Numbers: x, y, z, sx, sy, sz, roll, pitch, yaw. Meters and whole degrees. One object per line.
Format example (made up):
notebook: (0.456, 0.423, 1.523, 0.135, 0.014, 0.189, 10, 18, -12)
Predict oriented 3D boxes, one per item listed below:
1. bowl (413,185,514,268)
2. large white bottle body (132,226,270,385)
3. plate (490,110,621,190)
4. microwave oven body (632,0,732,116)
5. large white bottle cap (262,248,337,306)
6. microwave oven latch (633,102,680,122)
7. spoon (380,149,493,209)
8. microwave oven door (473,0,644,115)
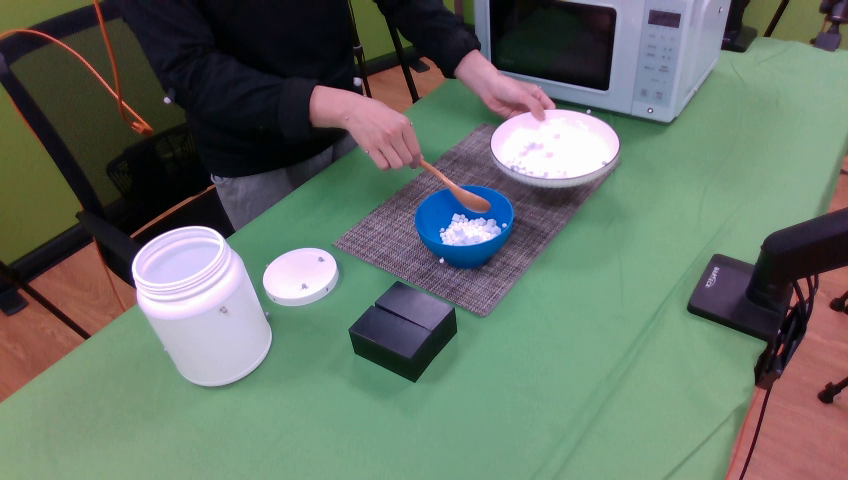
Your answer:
bowl: (0.063, -0.010, 0.922, 0.151, 0.077, 0.150, -4, 40, 4)
large white bottle body: (-0.286, 0.085, 0.784, 0.130, 0.185, 0.130, -4, 41, 4)
plate: (0.212, -0.145, 0.991, 0.209, 0.038, 0.208, -3, 42, 3)
microwave oven body: (0.377, -0.463, 1.267, 0.438, 0.261, 0.327, 21, 49, 30)
large white bottle cap: (-0.193, 0.056, 0.934, 0.115, 0.018, 0.114, -4, 41, 4)
microwave oven latch: (0.443, -0.249, 1.157, 0.078, 0.029, 0.030, 21, 49, 30)
spoon: (0.016, -0.092, 0.898, 0.193, 0.042, 0.021, 32, 78, 17)
microwave oven door: (0.257, -0.396, 1.199, 0.353, 0.245, 0.039, 21, 48, 29)
